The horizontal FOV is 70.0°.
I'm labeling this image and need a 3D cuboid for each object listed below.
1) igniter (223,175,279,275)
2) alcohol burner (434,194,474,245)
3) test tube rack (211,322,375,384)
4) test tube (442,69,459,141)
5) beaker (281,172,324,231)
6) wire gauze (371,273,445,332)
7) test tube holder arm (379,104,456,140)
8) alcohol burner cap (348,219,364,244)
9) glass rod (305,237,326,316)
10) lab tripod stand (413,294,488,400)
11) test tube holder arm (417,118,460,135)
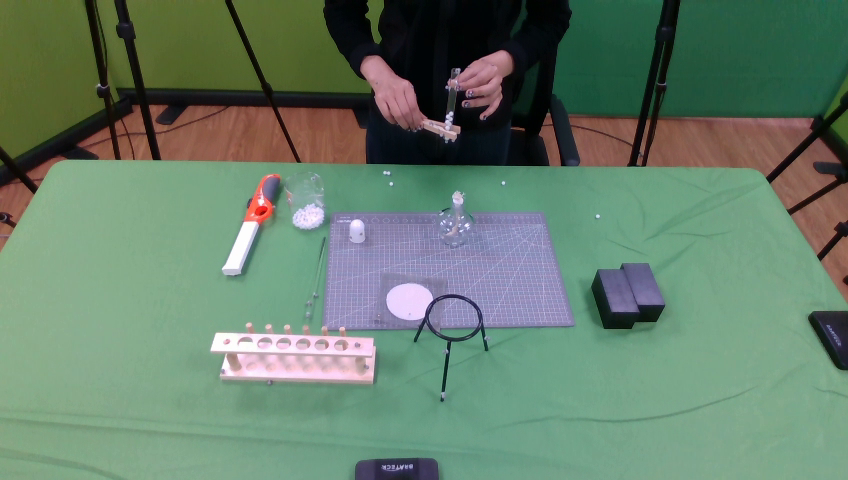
[{"bbox_3d":[-0.341,-0.039,1.206,0.057,0.025,0.275,-1,45,8],"label":"igniter"},{"bbox_3d":[0.061,-0.046,1.183,0.078,0.119,0.077,3,47,-3],"label":"alcohol burner"},{"bbox_3d":[-0.203,0.176,0.969,0.242,0.085,0.066,3,46,-2],"label":"test tube rack"},{"bbox_3d":[0.049,-0.250,1.135,0.017,0.151,0.017,4,44,-4],"label":"test tube"},{"bbox_3d":[-0.234,-0.073,1.199,0.084,0.101,0.074,24,50,17],"label":"beaker"},{"bbox_3d":[-0.028,0.108,1.100,0.125,0.011,0.121,7,45,4],"label":"wire gauze"},{"bbox_3d":[-0.015,-0.234,1.192,0.178,0.015,0.013,24,51,21],"label":"test tube holder arm"},{"bbox_3d":[-0.134,-0.019,1.190,0.034,0.048,0.033,2,46,-2],"label":"alcohol burner cap"},{"bbox_3d":[-0.202,0.064,1.131,0.008,0.008,0.198,4,43,0],"label":"glass rod"},{"bbox_3d":[0.044,0.159,0.972,0.148,0.132,0.147,2,44,-2],"label":"lab tripod stand"},{"bbox_3d":[0.027,-0.223,1.181,0.087,0.015,0.010,15,49,13],"label":"test tube holder arm"}]
